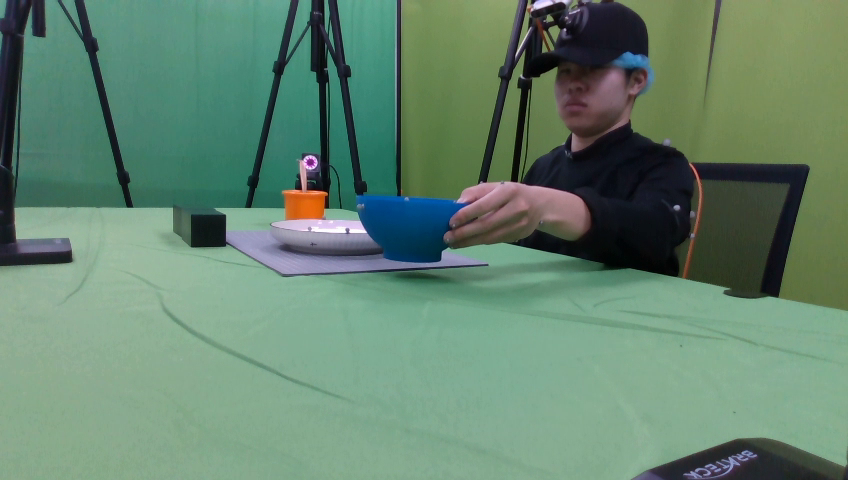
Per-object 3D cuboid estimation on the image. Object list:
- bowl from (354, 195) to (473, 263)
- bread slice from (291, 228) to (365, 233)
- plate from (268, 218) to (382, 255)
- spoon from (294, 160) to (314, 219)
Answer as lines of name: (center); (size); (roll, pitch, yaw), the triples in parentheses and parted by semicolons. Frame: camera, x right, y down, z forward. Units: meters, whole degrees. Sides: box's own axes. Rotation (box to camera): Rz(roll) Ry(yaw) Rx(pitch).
bowl: (-0.015, -0.015, 0.761); (0.151, 0.077, 0.151); (3, 6, 0)
bread slice: (-0.143, -0.003, 0.953); (0.135, 0.018, 0.106); (-1, 9, -37)
plate: (-0.140, -0.006, 0.958); (0.209, 0.038, 0.209); (3, 7, 0)
spoon: (-0.253, -0.102, 1.270); (0.042, 0.193, 0.021); (3, -38, -17)
